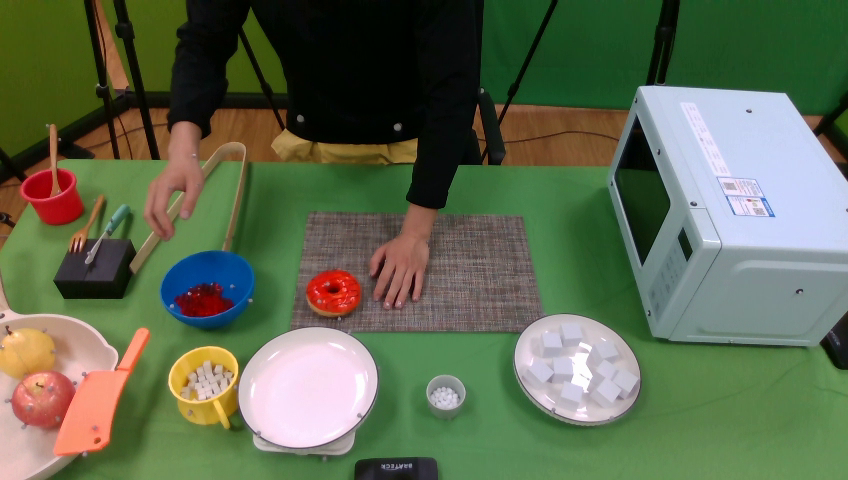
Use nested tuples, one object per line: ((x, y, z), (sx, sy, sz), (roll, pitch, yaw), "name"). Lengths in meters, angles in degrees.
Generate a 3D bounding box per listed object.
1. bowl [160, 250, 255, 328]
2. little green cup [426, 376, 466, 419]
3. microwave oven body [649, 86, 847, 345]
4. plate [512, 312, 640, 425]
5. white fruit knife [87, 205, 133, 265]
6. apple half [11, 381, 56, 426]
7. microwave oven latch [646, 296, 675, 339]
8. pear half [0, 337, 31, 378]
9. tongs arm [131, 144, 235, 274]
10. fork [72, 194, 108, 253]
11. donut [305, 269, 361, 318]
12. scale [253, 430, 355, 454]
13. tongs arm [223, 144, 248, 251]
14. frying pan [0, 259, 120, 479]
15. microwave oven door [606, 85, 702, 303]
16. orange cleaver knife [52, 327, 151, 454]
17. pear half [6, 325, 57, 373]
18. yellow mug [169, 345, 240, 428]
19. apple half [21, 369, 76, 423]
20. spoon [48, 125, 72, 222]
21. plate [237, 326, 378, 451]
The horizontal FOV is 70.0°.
((-0.362, 0.098, 1.040), (0.151, 0.077, 0.150), (2, 45, -2), "bowl")
((0.033, 0.248, 0.950), (0.061, 0.039, 0.061), (2, 46, -2), "little green cup")
((0.567, -0.053, 1.118), (0.326, 0.261, 0.439), (2, 45, -1), "microwave oven body")
((0.246, 0.213, 0.999), (0.208, 0.039, 0.206), (2, 46, -2), "plate")
((-0.584, -0.013, 1.129), (0.016, 0.027, 0.206), (1, 31, -5), "white fruit knife")
((-0.570, 0.246, 0.875), (0.081, 0.081, 0.033), (32, 49, 24), "apple half")
((0.412, 0.134, 1.061), (0.030, 0.029, 0.078), (4, 45, 1), "microwave oven latch")
((-0.631, 0.183, 0.923), (0.070, 0.088, 0.031), (28, 50, 15), "pear half")
((-0.484, -0.077, 1.235), (0.028, 0.028, 0.385), (6, 45, 12), "tongs arm")
((-0.634, -0.036, 1.158), (0.028, 0.019, 0.206), (-8, 32, -8), "fork")
((-0.160, 0.094, 1.075), (0.099, 0.048, 0.098), (4, 45, -3), "donut")
((-0.175, 0.236, 0.951), (0.149, 0.032, 0.199), (4, 45, 0), "scale")
((-0.398, -0.073, 1.232), (0.051, 0.026, 0.382), (-2, 45, 0), "tongs arm")
((-0.647, 0.164, 0.936), (0.307, 0.103, 0.485), (-19, 58, -22), "frying pan")
((0.422, -0.094, 1.140), (0.039, 0.245, 0.353), (2, 46, -1), "microwave oven door")
((-0.462, 0.212, 0.879), (0.077, 0.012, 0.210), (6, 45, -2), "orange cleaver knife")
((-0.607, 0.158, 0.935), (0.076, 0.110, 0.056), (31, 51, 19), "pear half")
((-0.323, 0.230, 0.922), (0.100, 0.064, 0.130), (-24, 53, -25), "yellow mug")
((-0.546, 0.226, 0.898), (0.080, 0.075, 0.053), (30, 48, 27), "apple half")
((-0.718, -0.131, 1.189), (0.041, 0.021, 0.193), (-3, 90, -7), "spoon")
((-0.174, 0.224, 0.917), (0.209, 0.038, 0.208), (2, 46, -2), "plate")
